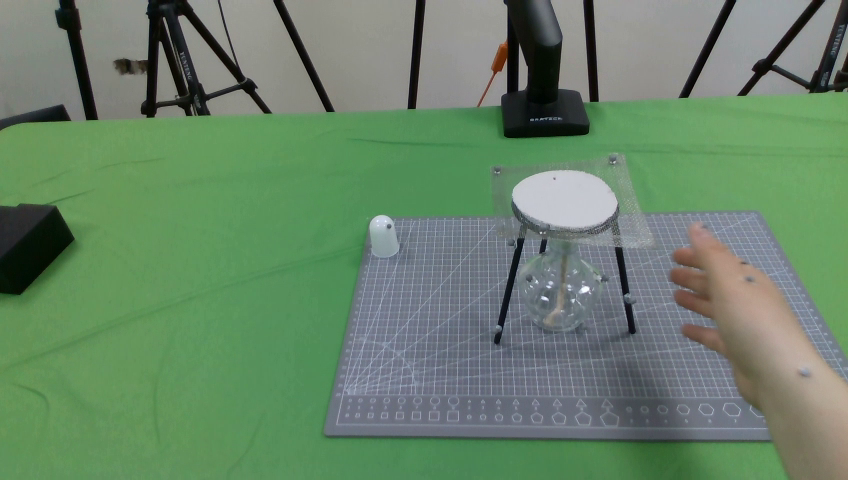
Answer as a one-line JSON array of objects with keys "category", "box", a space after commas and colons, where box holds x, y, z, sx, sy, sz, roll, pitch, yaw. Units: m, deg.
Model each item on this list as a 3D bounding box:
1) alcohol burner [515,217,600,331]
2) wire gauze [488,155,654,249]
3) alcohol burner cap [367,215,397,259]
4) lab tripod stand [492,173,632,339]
[{"category": "alcohol burner", "box": [0.124, 0.027, 0.556, 0.078, 0.120, 0.077, -1, 39, 1]}, {"category": "wire gauze", "box": [0.117, -0.035, 0.509, 0.125, 0.011, 0.120, 0, 40, 4]}, {"category": "alcohol burner cap", "box": [-0.048, -0.007, 0.670, 0.034, 0.048, 0.033, -2, 41, 2]}, {"category": "lab tripod stand", "box": [0.125, 0.017, 0.552, 0.148, 0.132, 0.147, -1, 39, 1]}]
